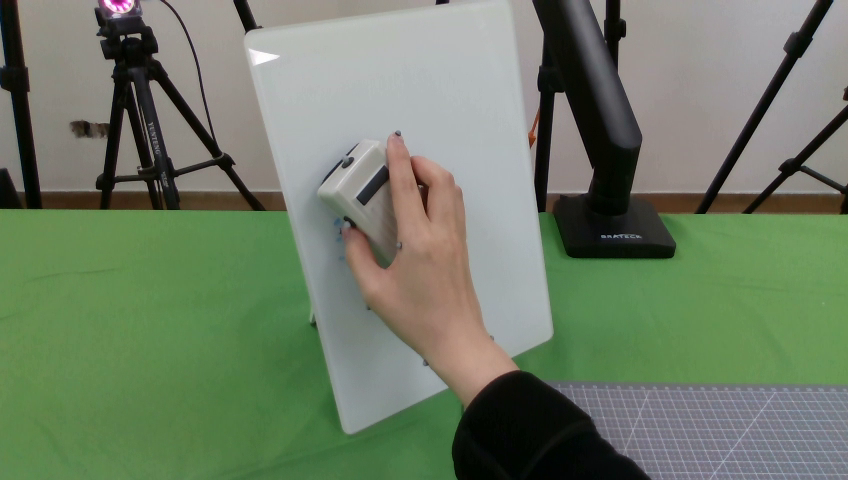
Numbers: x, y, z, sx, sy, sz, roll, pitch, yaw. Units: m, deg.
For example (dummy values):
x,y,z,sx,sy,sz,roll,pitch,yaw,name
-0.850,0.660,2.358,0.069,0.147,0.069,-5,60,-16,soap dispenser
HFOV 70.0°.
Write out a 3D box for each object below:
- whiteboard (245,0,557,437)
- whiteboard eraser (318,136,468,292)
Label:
x,y,z,sx,sy,sz,roll,pitch,yaw,name
-0.027,-0.032,0.531,0.218,0.307,0.142,-19,19,-25,whiteboard
-0.021,-0.017,0.436,0.055,0.114,0.041,-52,29,-18,whiteboard eraser
